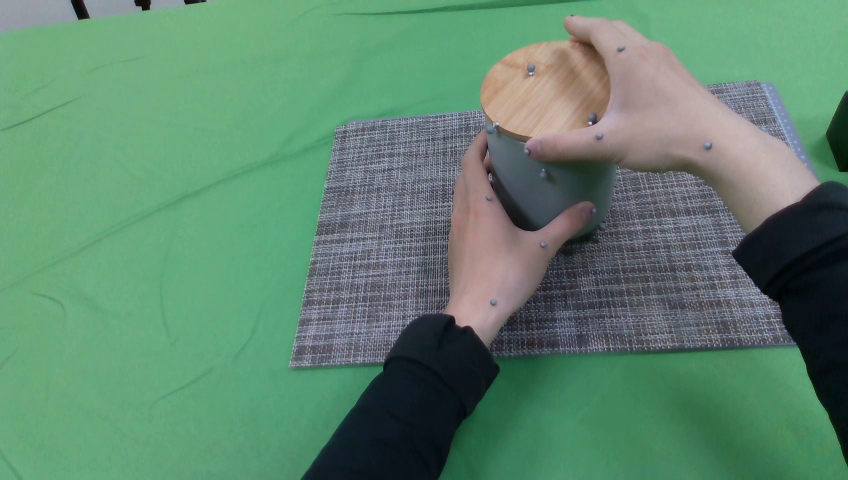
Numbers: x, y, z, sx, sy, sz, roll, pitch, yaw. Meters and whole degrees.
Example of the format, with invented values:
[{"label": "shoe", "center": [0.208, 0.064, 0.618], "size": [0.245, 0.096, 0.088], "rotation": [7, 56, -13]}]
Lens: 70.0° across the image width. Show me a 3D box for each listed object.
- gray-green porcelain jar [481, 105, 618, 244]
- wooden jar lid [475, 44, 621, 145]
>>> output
[{"label": "gray-green porcelain jar", "center": [0.105, -0.067, 0.511], "size": [0.106, 0.128, 0.105], "rotation": [-6, 51, 7]}, {"label": "wooden jar lid", "center": [0.094, -0.109, 0.462], "size": [0.108, 0.021, 0.107], "rotation": [-6, 55, 9]}]
